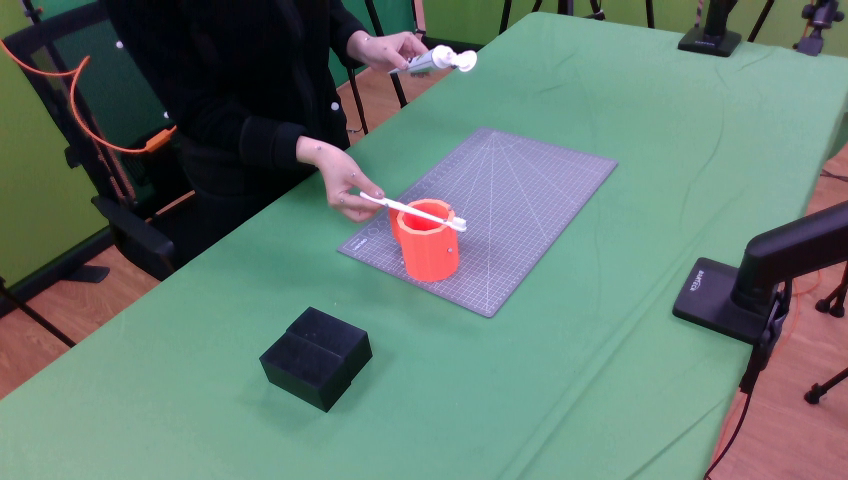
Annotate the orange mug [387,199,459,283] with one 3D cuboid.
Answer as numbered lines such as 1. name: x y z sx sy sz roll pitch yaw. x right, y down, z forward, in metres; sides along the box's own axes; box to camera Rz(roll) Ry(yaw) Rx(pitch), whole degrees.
1. orange mug: -0.006 -0.007 0.922 0.125 0.101 0.084 32 54 32

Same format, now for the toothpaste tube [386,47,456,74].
1. toothpaste tube: -0.001 -0.295 1.011 0.055 0.034 0.164 -10 10 -32

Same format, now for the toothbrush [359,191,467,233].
1. toothbrush: -0.019 -0.044 0.877 0.181 0.017 0.014 19 41 23

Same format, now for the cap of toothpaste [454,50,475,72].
1. cap of toothpaste: 0.063 -0.283 0.950 0.037 0.011 0.037 -10 72 35
